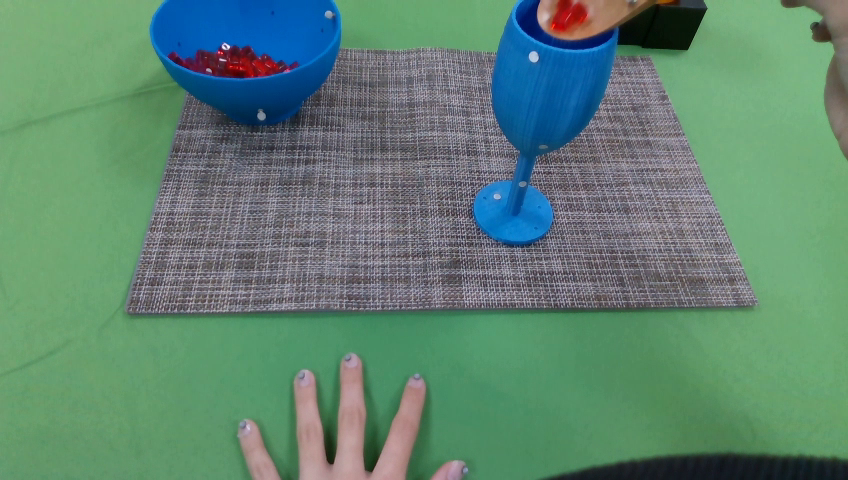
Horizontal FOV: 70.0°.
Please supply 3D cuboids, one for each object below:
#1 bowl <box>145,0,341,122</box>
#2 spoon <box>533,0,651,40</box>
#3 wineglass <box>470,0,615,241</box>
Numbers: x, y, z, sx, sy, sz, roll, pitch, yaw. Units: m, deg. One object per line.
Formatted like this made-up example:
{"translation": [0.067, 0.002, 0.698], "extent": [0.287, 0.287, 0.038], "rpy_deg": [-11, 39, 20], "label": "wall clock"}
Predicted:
{"translation": [-0.145, -0.155, 0.515], "extent": [0.151, 0.077, 0.150], "rpy_deg": [2, 53, -3], "label": "bowl"}
{"translation": [0.142, -0.134, 0.304], "extent": [0.192, 0.022, 0.041], "rpy_deg": [2, 74, 43], "label": "spoon"}
{"translation": [0.074, -0.077, 0.416], "extent": [0.074, 0.173, 0.073], "rpy_deg": [2, 53, -3], "label": "wineglass"}
